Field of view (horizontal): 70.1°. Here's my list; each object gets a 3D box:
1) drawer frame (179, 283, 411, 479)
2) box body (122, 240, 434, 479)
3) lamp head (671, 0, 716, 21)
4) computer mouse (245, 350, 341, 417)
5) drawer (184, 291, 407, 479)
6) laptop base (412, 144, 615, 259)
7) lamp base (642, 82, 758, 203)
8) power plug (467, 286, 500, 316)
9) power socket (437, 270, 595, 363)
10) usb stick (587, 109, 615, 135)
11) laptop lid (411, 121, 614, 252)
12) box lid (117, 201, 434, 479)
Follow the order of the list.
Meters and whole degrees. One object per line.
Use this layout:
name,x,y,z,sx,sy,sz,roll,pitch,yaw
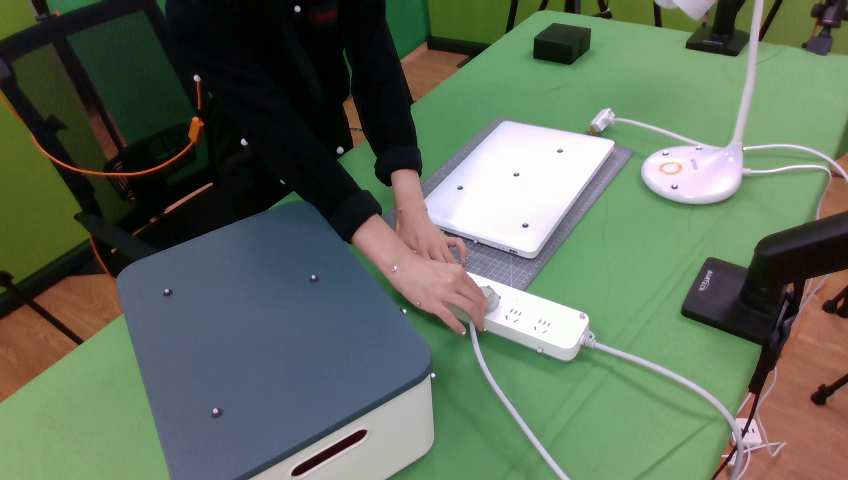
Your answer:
drawer frame,-0.155,0.179,0.727,0.202,0.083,0.211,-28,49,-20
box body,-0.175,0.142,0.725,0.255,0.161,0.360,-25,43,-20
lamp head,0.375,-0.373,0.807,0.122,0.113,0.112,-40,27,32
computer mouse,-0.164,0.173,0.754,0.118,0.041,0.062,-18,33,-18
drawer,-0.155,0.180,0.720,0.195,0.073,0.210,-27,40,-21
laptop base,0.167,-0.102,1.075,0.234,0.023,0.355,17,46,30
lamp base,0.464,-0.174,0.992,0.179,0.181,0.159,-5,41,-1
power plug,0.072,0.090,0.813,0.073,0.053,0.035,-34,46,-31
power socket,0.119,0.101,0.832,0.225,0.033,0.072,20,48,28
usb stick,0.344,-0.229,1.184,0.059,0.021,0.027,-47,21,-8
laptop lid,0.164,-0.112,1.068,0.240,0.013,0.357,19,46,31
box lid,-0.182,0.087,0.675,0.264,0.015,0.368,-25,42,-20
